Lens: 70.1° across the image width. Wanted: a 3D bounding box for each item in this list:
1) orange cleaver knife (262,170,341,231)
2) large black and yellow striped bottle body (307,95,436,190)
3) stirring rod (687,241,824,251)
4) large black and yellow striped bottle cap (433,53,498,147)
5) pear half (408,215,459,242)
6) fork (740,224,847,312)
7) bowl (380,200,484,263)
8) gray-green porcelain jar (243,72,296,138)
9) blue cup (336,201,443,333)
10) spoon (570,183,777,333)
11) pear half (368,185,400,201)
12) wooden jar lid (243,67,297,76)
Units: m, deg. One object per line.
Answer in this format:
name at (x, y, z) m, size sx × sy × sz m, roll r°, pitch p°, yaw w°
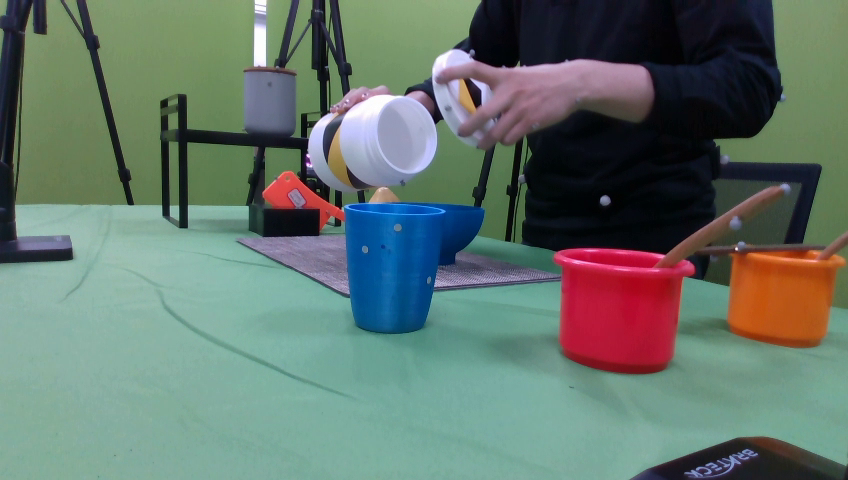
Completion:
orange cleaver knife at (-0.201, -0.057, 1.136) m, size 0.212 × 0.077 × 0.012 m, roll 31°, pitch -3°, yaw -31°
large black and yellow striped bottle body at (-0.079, -0.145, 0.912) m, size 0.131 × 0.130 × 0.183 m, roll -4°, pitch 2°, yaw -38°
stirring rod at (0.290, 0.005, 0.525) m, size 0.177 × 0.006 × 0.014 m, roll -1°, pitch 5°, yaw -26°
large black and yellow striped bottle cap at (0.052, -0.170, 0.735) m, size 0.018 × 0.115 × 0.115 m, roll -17°, pitch -5°, yaw 36°
pear half at (0.011, -0.019, 0.848) m, size 0.070 × 0.031 × 0.088 m, roll 5°, pitch 11°, yaw 32°
fork at (0.323, 0.013, 0.485) m, size 0.028 × 0.018 × 0.207 m, roll 8°, pitch -37°, yaw -6°
bowl at (0.007, -0.013, 0.842) m, size 0.151 × 0.077 × 0.151 m, roll 2°, pitch 7°, yaw 0°
gray-green porcelain jar at (-0.322, -0.279, 1.263) m, size 0.106 × 0.126 × 0.106 m, roll 3°, pitch 8°, yaw 0°
blue cup at (-0.029, 0.021, 0.508) m, size 0.093 × 0.100 × 0.092 m, roll 3°, pitch 9°, yaw 0°
spoon at (0.161, 0.020, 0.413) m, size 0.042 × 0.021 × 0.193 m, roll 1°, pitch -36°, yaw -24°
pear half at (-0.064, -0.061, 1.077) m, size 0.055 × 0.110 × 0.077 m, roll 9°, pitch 14°, yaw 39°
wooden jar lid at (-0.319, -0.342, 1.254) m, size 0.108 × 0.020 × 0.108 m, roll 3°, pitch 8°, yaw 0°
